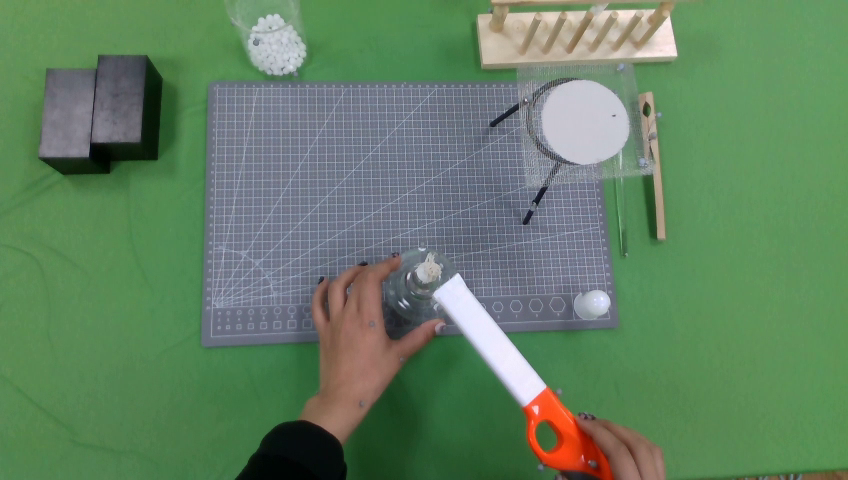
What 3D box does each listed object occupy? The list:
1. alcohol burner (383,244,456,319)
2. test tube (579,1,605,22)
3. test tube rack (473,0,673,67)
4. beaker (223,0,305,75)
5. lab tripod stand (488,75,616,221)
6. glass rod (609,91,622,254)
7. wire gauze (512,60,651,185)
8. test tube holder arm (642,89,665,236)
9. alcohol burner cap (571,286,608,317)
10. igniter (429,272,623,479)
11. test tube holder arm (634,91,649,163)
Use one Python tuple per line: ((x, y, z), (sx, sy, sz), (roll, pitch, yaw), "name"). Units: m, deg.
((-0.003, 0.039, 0.610), (0.078, 0.119, 0.077), (1, 75, -4), "alcohol burner")
((0.208, -0.287, 0.667), (0.017, 0.150, 0.017), (3, 76, -10), "test tube")
((0.186, -0.259, 0.710), (0.243, 0.085, 0.066), (-4, 77, -6), "test tube rack")
((-0.173, -0.234, 0.665), (0.084, 0.100, 0.073), (16, 76, 0), "beaker")
((0.132, -0.105, 0.644), (0.148, 0.132, 0.147), (1, 78, -3), "lab tripod stand")
((0.226, -0.082, 0.715), (0.008, 0.008, 0.199), (1, 81, -5), "glass rod")
((0.148, -0.115, 0.578), (0.121, 0.011, 0.124), (-4, 77, -4), "wire gauze")
((0.269, -0.092, 0.714), (0.013, 0.015, 0.177), (-9, 77, 27), "test tube holder arm")
((0.182, 0.065, 0.658), (0.034, 0.048, 0.033), (1, 77, -5), "alcohol burner cap")
((0.100, 0.146, 0.538), (0.057, 0.025, 0.276), (-38, 88, -15), "igniter")
((0.262, -0.135, 0.725), (0.010, 0.015, 0.087), (-9, 77, 28), "test tube holder arm")
